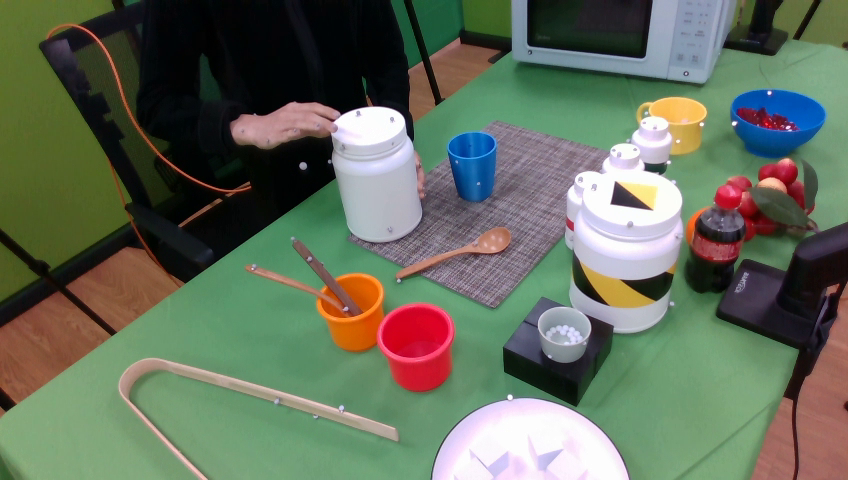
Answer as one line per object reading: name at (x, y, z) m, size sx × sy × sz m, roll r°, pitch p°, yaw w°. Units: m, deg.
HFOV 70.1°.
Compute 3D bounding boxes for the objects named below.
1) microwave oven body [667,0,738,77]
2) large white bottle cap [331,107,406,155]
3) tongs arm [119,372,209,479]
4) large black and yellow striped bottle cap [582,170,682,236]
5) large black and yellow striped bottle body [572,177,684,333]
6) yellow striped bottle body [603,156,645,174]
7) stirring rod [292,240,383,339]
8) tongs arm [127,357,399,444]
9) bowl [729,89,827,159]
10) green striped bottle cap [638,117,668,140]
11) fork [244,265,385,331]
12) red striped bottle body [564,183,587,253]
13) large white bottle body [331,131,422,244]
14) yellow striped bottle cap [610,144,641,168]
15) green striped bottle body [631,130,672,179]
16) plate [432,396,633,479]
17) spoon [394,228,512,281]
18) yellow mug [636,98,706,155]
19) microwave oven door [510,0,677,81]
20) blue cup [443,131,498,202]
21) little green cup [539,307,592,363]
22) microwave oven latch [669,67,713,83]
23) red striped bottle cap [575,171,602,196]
microwave oven body at (0.462, -0.552, 1.368) m, size 0.439 × 0.261 × 0.326 m, roll 14°, pitch 45°, yaw 26°
large white bottle cap at (-0.084, -0.167, 0.918) m, size 0.115 × 0.018 × 0.114 m, roll -4°, pitch 41°, yaw 4°
tongs arm at (-0.258, 0.257, 0.700) m, size 0.384 × 0.028 × 0.028 m, roll 24°, pitch 55°, yaw 34°
large black and yellow striped bottle cap at (0.252, -0.048, 0.735) m, size 0.115 × 0.019 × 0.114 m, roll -3°, pitch 40°, yaw 3°
large black and yellow striped bottle body at (0.262, 0.017, 0.788) m, size 0.131 × 0.185 × 0.130 m, roll -5°, pitch 40°, yaw 4°
yellow striped bottle body at (0.313, -0.089, 0.956) m, size 0.063 × 0.121 × 0.062 m, roll -4°, pitch 40°, yaw 4°
stirring rod at (-0.118, 0.068, 0.825) m, size 0.176 × 0.006 × 0.014 m, roll 48°, pitch 59°, yaw -3°
tongs arm at (-0.213, 0.205, 0.755) m, size 0.382 × 0.026 × 0.051 m, roll 12°, pitch 46°, yaw 23°
bowl at (0.615, -0.197, 1.069) m, size 0.151 × 0.077 × 0.150 m, roll -5°, pitch 40°, yaw 5°
green striped bottle cap at (0.369, -0.180, 0.974) m, size 0.044 × 0.020 × 0.044 m, roll -4°, pitch 41°, yaw 4°
fork at (-0.142, 0.078, 0.806) m, size 0.209 × 0.018 × 0.028 m, roll 30°, pitch 33°, yaw -23°
red striped bottle body at (0.246, -0.041, 0.910) m, size 0.063 × 0.120 × 0.062 m, roll -2°, pitch 38°, yaw 2°
large white bottle body at (-0.076, -0.101, 0.975) m, size 0.130 × 0.185 × 0.130 m, roll -4°, pitch 40°, yaw 4°
yellow striped bottle cap at (0.307, -0.128, 0.923) m, size 0.044 × 0.019 × 0.044 m, roll -5°, pitch 39°, yaw 5°
green striped bottle body at (0.375, -0.140, 1.007) m, size 0.063 × 0.120 × 0.063 m, roll -5°, pitch 40°, yaw 4°
plate at (0.112, 0.261, 0.634) m, size 0.209 × 0.038 × 0.208 m, roll -5°, pitch 40°, yaw 4°
spoon at (0.045, 0.024, 0.935) m, size 0.194 × 0.022 × 0.041 m, roll -18°, pitch 66°, yaw -11°
yellow mug at (0.453, -0.217, 1.128) m, size 0.100 × 0.064 × 0.129 m, roll -34°, pitch 46°, yaw -26°
microwave oven door at (0.354, -0.478, 1.290) m, size 0.353 × 0.245 × 0.039 m, roll 15°, pitch 45°, yaw 25°
blue cup at (0.086, -0.122, 1.040) m, size 0.092 × 0.100 × 0.092 m, roll -5°, pitch 42°, yaw 5°
little green cup at (0.168, 0.115, 0.721) m, size 0.061 × 0.039 × 0.061 m, roll -4°, pitch 42°, yaw 4°
microwave oven latch at (0.556, -0.349, 1.261) m, size 0.078 × 0.029 × 0.030 m, roll 16°, pitch 46°, yaw 27°
red striped bottle cap at (0.242, -0.081, 0.876) m, size 0.044 × 0.018 × 0.044 m, roll -5°, pitch 44°, yaw 5°
